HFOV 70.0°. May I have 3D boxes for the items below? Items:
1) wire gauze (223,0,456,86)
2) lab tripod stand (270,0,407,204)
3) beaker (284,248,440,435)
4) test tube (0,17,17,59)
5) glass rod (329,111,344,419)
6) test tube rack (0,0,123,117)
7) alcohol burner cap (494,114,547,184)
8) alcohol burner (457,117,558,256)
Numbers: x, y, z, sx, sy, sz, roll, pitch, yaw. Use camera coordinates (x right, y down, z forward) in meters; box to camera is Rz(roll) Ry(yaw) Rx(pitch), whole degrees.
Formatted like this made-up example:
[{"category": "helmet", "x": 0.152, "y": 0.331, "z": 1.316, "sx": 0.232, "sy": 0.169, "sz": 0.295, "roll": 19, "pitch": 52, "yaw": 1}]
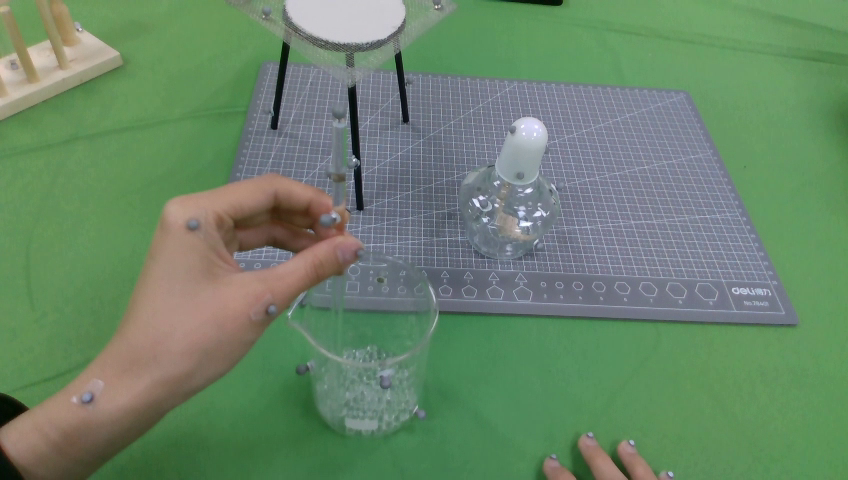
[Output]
[{"category": "wire gauze", "x": -0.058, "y": -0.168, "z": 0.438, "sx": 0.124, "sy": 0.011, "sz": 0.121, "roll": 35, "pitch": 55, "yaw": 19}, {"category": "lab tripod stand", "x": -0.062, "y": -0.124, "z": 0.489, "sx": 0.148, "sy": 0.132, "sz": 0.147, "roll": 5, "pitch": 50, "yaw": -5}, {"category": "beaker", "x": -0.036, "y": 0.065, "z": 0.359, "sx": 0.084, "sy": 0.101, "sz": 0.073, "roll": -5, "pitch": 50, "yaw": -10}, {"category": "test tube", "x": -0.375, "y": -0.218, "z": 0.499, "sx": 0.017, "sy": 0.151, "sz": 0.017, "roll": 2, "pitch": 47, "yaw": -1}, {"category": "glass rod", "x": -0.047, "y": 0.027, "z": 0.316, "sx": 0.008, "sy": 0.201, "sz": 0.008, "roll": 4, "pitch": 35, "yaw": -3}, {"category": "test tube rack", "x": -0.390, "y": -0.150, "z": 0.505, "sx": 0.066, "sy": 0.086, "sz": 0.242, "roll": 34, "pitch": 54, "yaw": 20}, {"category": "alcohol burner cap", "x": 0.069, "y": -0.065, "z": 0.422, "sx": 0.034, "sy": 0.048, "sz": 0.033, "roll": 3, "pitch": 54, "yaw": -4}, {"category": "alcohol burner", "x": 0.066, "y": -0.043, "z": 0.450, "sx": 0.078, "sy": 0.120, "sz": 0.077, "roll": 5, "pitch": 48, "yaw": -5}]
